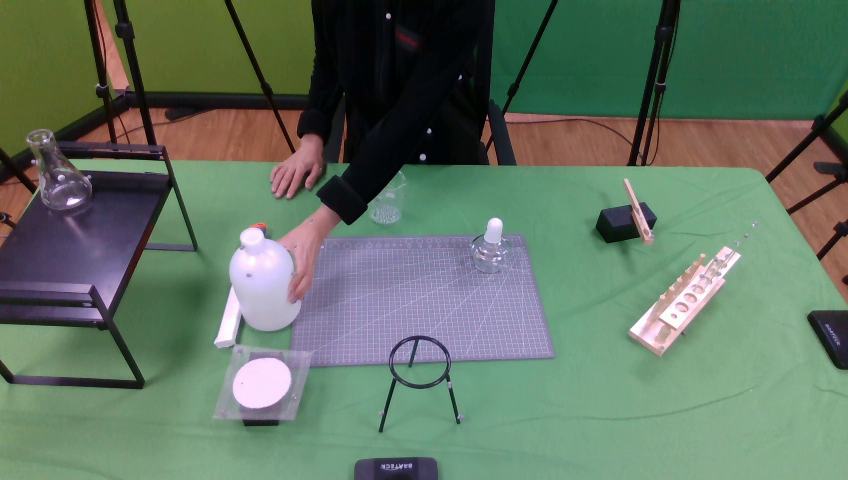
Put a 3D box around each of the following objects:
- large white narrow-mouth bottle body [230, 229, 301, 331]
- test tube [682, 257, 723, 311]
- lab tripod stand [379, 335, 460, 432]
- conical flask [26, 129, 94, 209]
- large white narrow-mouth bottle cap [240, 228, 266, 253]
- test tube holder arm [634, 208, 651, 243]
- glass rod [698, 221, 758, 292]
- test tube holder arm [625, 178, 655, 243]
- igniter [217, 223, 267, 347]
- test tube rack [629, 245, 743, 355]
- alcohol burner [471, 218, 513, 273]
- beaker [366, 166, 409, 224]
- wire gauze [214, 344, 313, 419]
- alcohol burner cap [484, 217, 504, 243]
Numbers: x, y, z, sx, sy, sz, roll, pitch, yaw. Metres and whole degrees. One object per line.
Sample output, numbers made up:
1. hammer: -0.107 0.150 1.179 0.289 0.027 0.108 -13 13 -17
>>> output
1. large white narrow-mouth bottle body: -0.264 0.058 0.999 0.102 0.195 0.101 1 47 0
2. test tube: 0.475 0.080 1.038 0.017 0.151 0.017 1 50 -1
3. lab tripod stand: -0.011 0.214 0.911 0.148 0.132 0.147 1 45 0
4. conical flask: -0.575 -0.113 0.946 0.075 0.122 0.075 2 46 -1
5. large white narrow-mouth bottle cap: -0.264 0.001 0.936 0.038 0.024 0.037 1 47 -1
6. test tube holder arm: 0.428 -0.030 1.189 0.010 0.015 0.087 1 47 -2
7. glass rod: 0.527 0.035 1.059 0.008 0.200 0.008 5 49 -6
8. test tube holder arm: 0.433 -0.062 1.220 0.013 0.015 0.177 0 47 -3
9. igniter: -0.328 0.072 1.100 0.057 0.025 0.275 -12 45 13
10. test tube rack: 0.474 0.095 1.091 0.242 0.085 0.066 -34 56 -31
11. alcohol burner: 0.128 0.005 1.132 0.078 0.120 0.077 0 47 0
12. beaker: -0.074 -0.087 1.222 0.084 0.101 0.073 4 46 0
13. wire gauze: -0.241 0.213 0.915 0.121 0.011 0.124 5 46 1
14. alcohol burner cap: 0.129 -0.021 1.107 0.034 0.048 0.033 4 41 -3
